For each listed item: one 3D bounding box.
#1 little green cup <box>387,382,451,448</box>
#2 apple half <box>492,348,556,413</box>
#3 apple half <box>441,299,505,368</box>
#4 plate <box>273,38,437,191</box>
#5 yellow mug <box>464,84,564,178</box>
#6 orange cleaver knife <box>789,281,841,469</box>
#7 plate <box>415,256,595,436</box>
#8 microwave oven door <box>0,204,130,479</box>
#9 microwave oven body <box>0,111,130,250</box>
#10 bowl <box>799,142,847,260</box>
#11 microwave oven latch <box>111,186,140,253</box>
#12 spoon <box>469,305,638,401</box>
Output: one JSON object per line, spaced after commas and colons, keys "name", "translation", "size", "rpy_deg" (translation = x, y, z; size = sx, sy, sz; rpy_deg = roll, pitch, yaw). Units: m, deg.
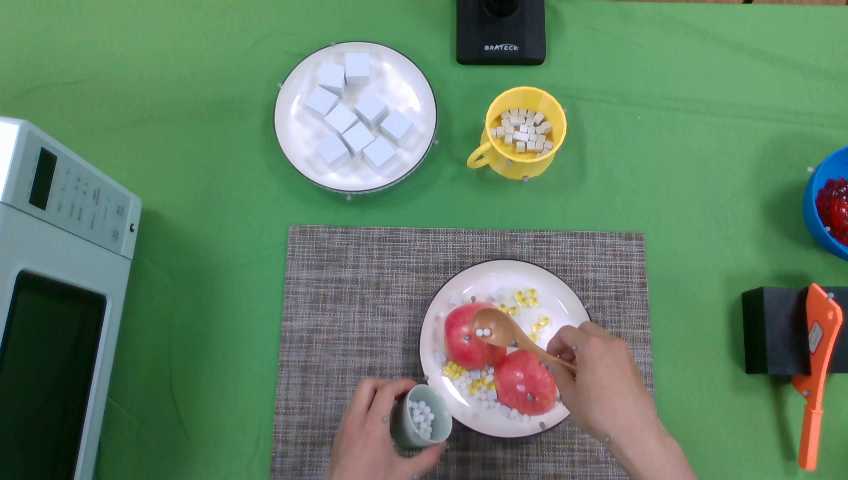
{"name": "little green cup", "translation": [-0.007, 0.184, 0.628], "size": [0.062, 0.039, 0.061], "rpy_deg": [25, 40, -22]}
{"name": "apple half", "translation": [0.117, 0.162, 0.703], "size": [0.081, 0.033, 0.081], "rpy_deg": [0, 74, 1]}
{"name": "apple half", "translation": [0.057, 0.107, 0.704], "size": [0.074, 0.053, 0.080], "rpy_deg": [-1, 78, 2]}
{"name": "plate", "translation": [-0.087, -0.159, 0.783], "size": [0.208, 0.039, 0.206], "rpy_deg": [0, 77, 0]}
{"name": "yellow mug", "translation": [0.108, -0.128, 0.763], "size": [0.131, 0.064, 0.099], "rpy_deg": [-30, 79, -6]}
{"name": "orange cleaver knife", "translation": [0.440, 0.154, 0.694], "size": [0.012, 0.077, 0.212], "rpy_deg": [2, 101, 4]}
{"name": "plate", "translation": [0.094, 0.123, 0.717], "size": [0.209, 0.038, 0.208], "rpy_deg": [0, 78, -1]}
{"name": "microwave oven door", "translation": [-0.385, 0.164, 0.584], "size": [0.039, 0.245, 0.354], "rpy_deg": [4, 77, 1]}
{"name": "microwave oven body", "translation": [-0.527, 0.113, 0.599], "size": [0.326, 0.261, 0.439], "rpy_deg": [4, 78, 0]}
{"name": "bowl", "translation": [0.523, -0.038, 0.740], "size": [0.151, 0.077, 0.150], "rpy_deg": [0, 78, 0]}
{"name": "microwave oven latch", "translation": [-0.366, -0.025, 0.730], "size": [0.030, 0.029, 0.079], "rpy_deg": [7, 78, 1]}
{"name": "spoon", "translation": [0.127, 0.118, 0.624], "size": [0.192, 0.022, 0.041], "rpy_deg": [26, 98, 35]}
